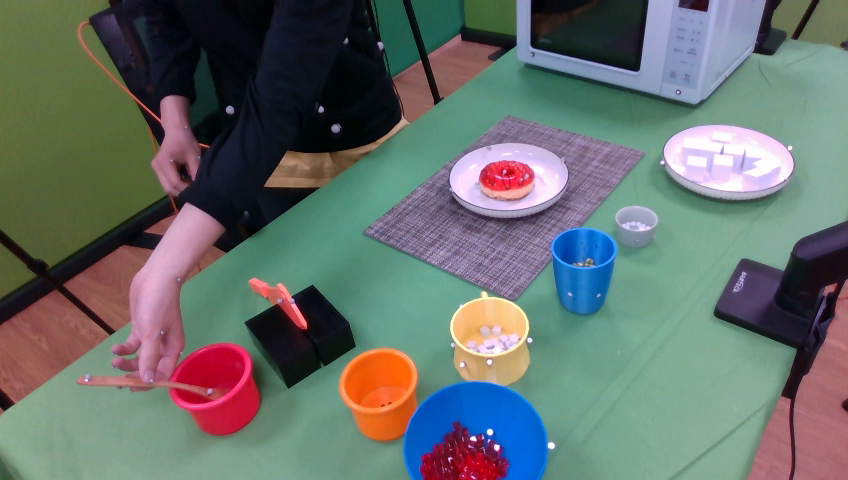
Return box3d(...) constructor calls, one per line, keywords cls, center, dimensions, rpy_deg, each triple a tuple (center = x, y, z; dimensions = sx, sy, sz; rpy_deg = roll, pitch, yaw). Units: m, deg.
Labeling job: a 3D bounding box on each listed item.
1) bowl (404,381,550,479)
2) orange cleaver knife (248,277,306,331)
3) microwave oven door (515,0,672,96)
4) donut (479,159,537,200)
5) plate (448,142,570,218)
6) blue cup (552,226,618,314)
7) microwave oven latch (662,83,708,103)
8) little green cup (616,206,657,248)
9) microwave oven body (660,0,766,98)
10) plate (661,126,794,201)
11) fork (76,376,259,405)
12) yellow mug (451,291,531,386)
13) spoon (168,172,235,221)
box3d(cls="bowl", center=(0.058, 0.235, 0.645), dimensions=(0.151, 0.077, 0.150), rpy_deg=(-4, 39, 4))
box3d(cls="orange cleaver knife", center=(-0.210, 0.088, 0.856), dimensions=(0.012, 0.077, 0.210), rpy_deg=(-30, 15, -24))
box3d(cls="microwave oven door", center=(0.344, -0.455, 1.259), dimensions=(0.353, 0.245, 0.039), rpy_deg=(26, 51, 33))
box3d(cls="donut", center=(0.145, -0.106, 1.042), dimensions=(0.099, 0.048, 0.098), rpy_deg=(-4, 37, 4))
box3d(cls="plate", center=(0.148, -0.101, 1.053), dimensions=(0.209, 0.038, 0.208), rpy_deg=(-4, 40, 4))
box3d(cls="blue cup", center=(0.218, 0.047, 0.826), dimensions=(0.092, 0.101, 0.092), rpy_deg=(-6, 40, 5))
box3d(cls="microwave oven latch", center=(0.518, -0.296, 1.204), dimensions=(0.078, 0.029, 0.030), rpy_deg=(28, 52, 35))
box3d(cls="little green cup", center=(0.327, -0.019, 0.935), dimensions=(0.061, 0.039, 0.061), rpy_deg=(-4, 40, 4))
box3d(cls="microwave oven body", center=(0.473, -0.514, 1.317), dimensions=(0.438, 0.261, 0.327), rpy_deg=(26, 51, 34))
box3d(cls="plate", center=(0.513, -0.127, 1.035), dimensions=(0.207, 0.039, 0.206), rpy_deg=(-4, 40, 4))
box3d(cls="fork", center=(-0.295, 0.176, 0.716), dimensions=(0.209, 0.018, 0.028), rpy_deg=(20, 27, -36))
box3d(cls="yellow mug", center=(0.085, 0.120, 0.786), dimensions=(0.100, 0.064, 0.130), rpy_deg=(-7, 39, 1))
box3d(cls="spoon", center=(-0.390, -0.082, 1.049), dimensions=(0.192, 0.022, 0.041), rpy_deg=(31, 76, 27))
